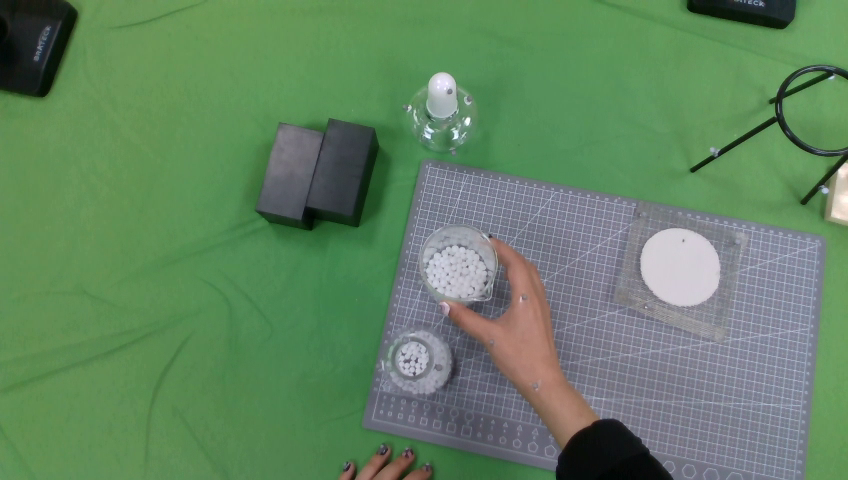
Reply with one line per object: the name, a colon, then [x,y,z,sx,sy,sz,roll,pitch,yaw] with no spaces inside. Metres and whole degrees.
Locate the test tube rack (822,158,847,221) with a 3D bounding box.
test tube rack: [0.561,-0.036,0.622,0.242,0.085,0.066,15,79,4]

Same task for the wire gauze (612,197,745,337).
wire gauze: [0.274,0.027,0.652,0.125,0.011,0.121,20,80,2]

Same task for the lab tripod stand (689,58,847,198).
lab tripod stand: [0.366,-0.110,0.616,0.148,0.132,0.148,0,81,2]

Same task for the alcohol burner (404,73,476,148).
alcohol burner: [0.017,-0.142,0.639,0.078,0.119,0.077,-1,79,3]

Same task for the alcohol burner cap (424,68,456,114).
alcohol burner cap: [0.016,-0.152,0.604,0.034,0.048,0.033,0,73,-1]

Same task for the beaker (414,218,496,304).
beaker: [0.033,0.028,0.609,0.074,0.100,0.083,-41,81,-6]

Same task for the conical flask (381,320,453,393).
conical flask: [-0.009,0.111,0.583,0.075,0.122,0.075,0,79,1]
